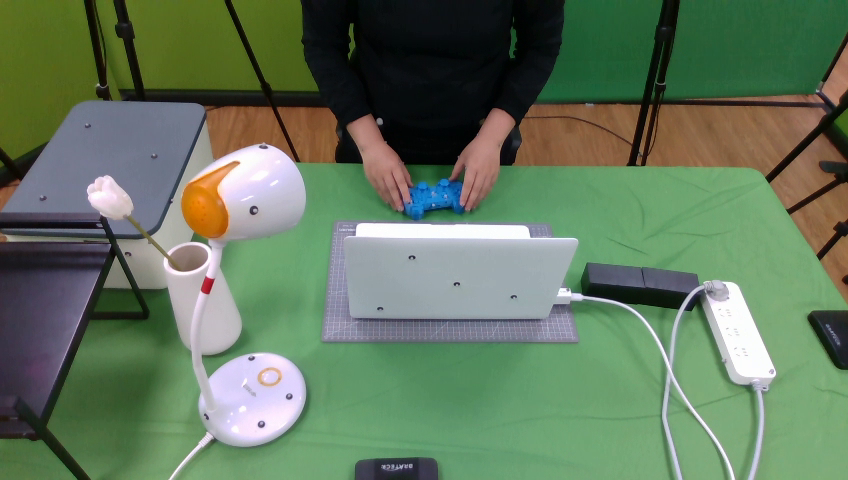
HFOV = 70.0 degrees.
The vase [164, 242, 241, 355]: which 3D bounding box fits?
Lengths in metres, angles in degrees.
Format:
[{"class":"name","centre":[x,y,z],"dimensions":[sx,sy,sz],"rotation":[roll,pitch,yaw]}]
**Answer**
[{"class":"vase","centre":[-0.349,0.096,0.954],"dimensions":[0.098,0.201,0.097],"rotation":[3,47,-3]}]

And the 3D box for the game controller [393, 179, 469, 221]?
[{"class":"game controller","centre":[0.019,-0.094,1.274],"dimensions":[0.155,0.052,0.096],"rotation":[-9,53,-12]}]

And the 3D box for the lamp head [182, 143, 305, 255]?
[{"class":"lamp head","centre":[-0.216,-0.044,0.697],"dimensions":[0.112,0.113,0.123],"rotation":[23,31,17]}]

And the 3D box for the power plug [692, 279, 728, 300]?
[{"class":"power plug","centre":[0.522,0.091,1.116],"dimensions":[0.072,0.053,0.035],"rotation":[10,47,8]}]

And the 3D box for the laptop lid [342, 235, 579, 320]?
[{"class":"laptop lid","centre":[0.051,0.067,0.973],"dimensions":[0.357,0.243,0.013],"rotation":[1,52,-5]}]

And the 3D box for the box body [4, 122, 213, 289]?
[{"class":"box body","centre":[-0.563,-0.086,1.138],"dimensions":[0.254,0.161,0.361],"rotation":[2,46,-3]}]

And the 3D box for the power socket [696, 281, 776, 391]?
[{"class":"power socket","centre":[0.550,0.160,1.078],"dimensions":[0.072,0.033,0.225],"rotation":[2,46,-1]}]

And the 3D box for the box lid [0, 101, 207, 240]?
[{"class":"box lid","centre":[-0.559,-0.137,1.084],"dimensions":[0.263,0.015,0.369],"rotation":[2,46,-2]}]

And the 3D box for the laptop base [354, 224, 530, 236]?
[{"class":"laptop base","centre":[0.040,0.056,1.149],"dimensions":[0.355,0.023,0.234],"rotation":[1,43,-4]}]

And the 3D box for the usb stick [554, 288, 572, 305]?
[{"class":"usb stick","centre":[0.236,0.103,1.101],"dimensions":[0.059,0.027,0.021],"rotation":[-2,47,1]}]

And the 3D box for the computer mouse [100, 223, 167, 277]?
[{"class":"computer mouse","centre":[-0.539,0.014,1.123],"dimensions":[0.062,0.041,0.117],"rotation":[30,57,18]}]

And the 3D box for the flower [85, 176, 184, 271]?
[{"class":"flower","centre":[-0.365,0.038,0.894],"dimensions":[0.038,0.364,0.044],"rotation":[-6,53,14]}]

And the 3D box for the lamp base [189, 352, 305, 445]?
[{"class":"lamp base","centre":[-0.268,0.196,0.876],"dimensions":[0.160,0.181,0.179],"rotation":[25,52,20]}]
